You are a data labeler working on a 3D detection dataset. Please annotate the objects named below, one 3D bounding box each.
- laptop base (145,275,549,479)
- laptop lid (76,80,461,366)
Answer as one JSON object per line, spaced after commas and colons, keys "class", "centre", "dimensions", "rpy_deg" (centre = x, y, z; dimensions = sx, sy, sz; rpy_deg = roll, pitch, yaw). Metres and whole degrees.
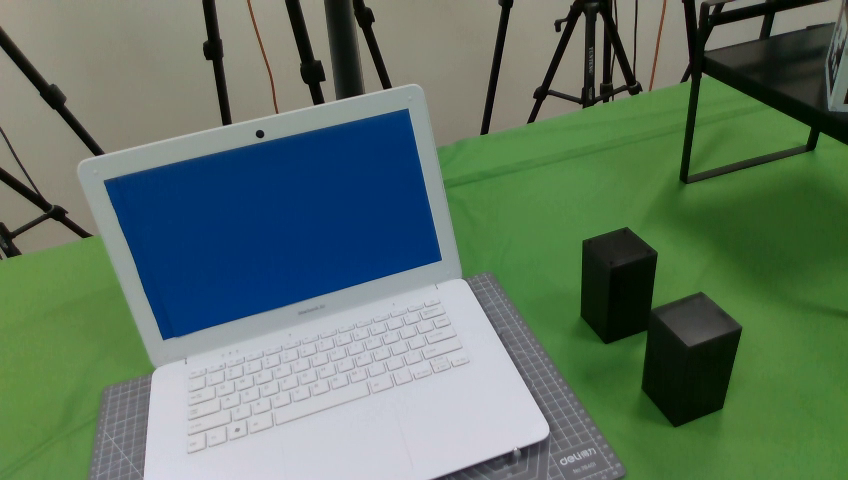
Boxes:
{"class": "laptop base", "centre": [-0.087, 0.155, 0.590], "dimensions": [0.355, 0.023, 0.233], "rpy_deg": [-16, 39, -10]}
{"class": "laptop lid", "centre": [-0.147, -0.016, 0.646], "dimensions": [0.357, 0.243, 0.013], "rpy_deg": [-18, 18, -9]}
